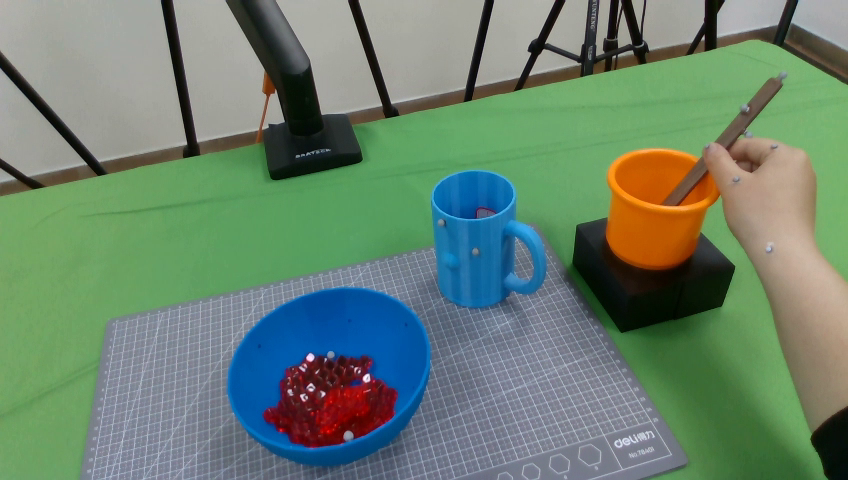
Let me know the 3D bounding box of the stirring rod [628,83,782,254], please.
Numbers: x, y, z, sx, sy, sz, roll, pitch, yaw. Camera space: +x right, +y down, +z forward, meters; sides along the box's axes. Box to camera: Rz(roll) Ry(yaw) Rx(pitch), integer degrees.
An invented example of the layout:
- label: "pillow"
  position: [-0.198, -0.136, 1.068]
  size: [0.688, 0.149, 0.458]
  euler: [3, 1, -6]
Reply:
- label: "stirring rod"
  position: [0.236, -0.058, 0.515]
  size: [0.006, 0.176, 0.014]
  euler: [24, 20, -37]

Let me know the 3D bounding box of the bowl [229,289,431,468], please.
- label: "bowl"
  position: [-0.066, 0.118, 0.472]
  size: [0.151, 0.077, 0.150]
  euler: [-3, 40, 3]

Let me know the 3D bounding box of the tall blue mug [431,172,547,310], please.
- label: "tall blue mug"
  position: [0.063, 0.004, 0.566]
  size: [0.107, 0.109, 0.077]
  euler: [5, 41, 12]
